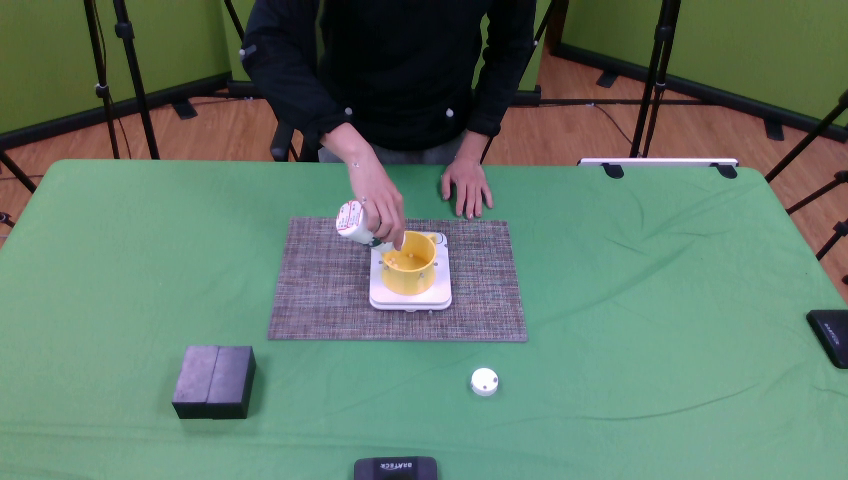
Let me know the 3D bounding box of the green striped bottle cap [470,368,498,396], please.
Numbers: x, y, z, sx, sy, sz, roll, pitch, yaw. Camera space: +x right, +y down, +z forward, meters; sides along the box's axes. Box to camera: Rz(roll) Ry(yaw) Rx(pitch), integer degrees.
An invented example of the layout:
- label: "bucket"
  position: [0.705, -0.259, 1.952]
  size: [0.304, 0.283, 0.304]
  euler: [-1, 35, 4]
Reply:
- label: "green striped bottle cap"
  position: [0.098, 0.231, 0.989]
  size: [0.044, 0.020, 0.044]
  euler: [2, 43, -2]

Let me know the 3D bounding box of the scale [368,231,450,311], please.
- label: "scale"
  position: [-0.029, 0.048, 1.137]
  size: [0.149, 0.032, 0.199]
  euler: [1, 46, -4]

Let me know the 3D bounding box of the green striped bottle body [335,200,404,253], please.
- label: "green striped bottle body"
  position: [-0.086, -0.018, 1.012]
  size: [0.120, 0.063, 0.063]
  euler: [26, 26, -46]

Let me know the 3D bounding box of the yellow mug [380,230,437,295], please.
- label: "yellow mug"
  position: [-0.020, 0.030, 1.089]
  size: [0.099, 0.064, 0.130]
  euler: [31, 51, 24]
